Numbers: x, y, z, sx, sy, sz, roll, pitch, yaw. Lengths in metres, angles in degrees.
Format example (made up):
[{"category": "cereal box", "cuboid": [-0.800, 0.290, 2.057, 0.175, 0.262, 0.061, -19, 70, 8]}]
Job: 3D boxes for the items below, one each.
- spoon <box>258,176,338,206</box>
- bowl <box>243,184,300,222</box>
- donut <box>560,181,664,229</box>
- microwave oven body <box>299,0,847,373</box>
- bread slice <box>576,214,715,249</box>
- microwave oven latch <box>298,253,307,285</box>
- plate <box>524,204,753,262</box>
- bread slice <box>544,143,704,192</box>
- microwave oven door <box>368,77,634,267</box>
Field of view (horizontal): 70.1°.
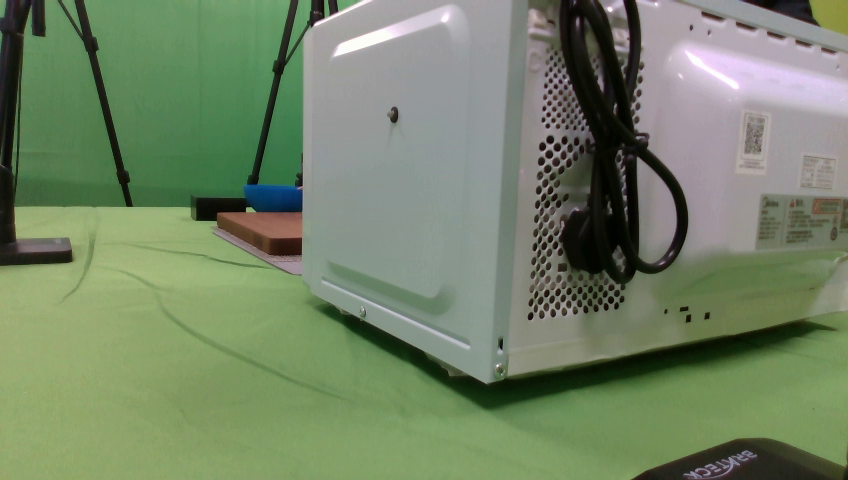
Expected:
[{"category": "spoon", "cuboid": [-0.279, -0.112, 1.356, 0.194, 0.021, 0.041, -27, 19, -27]}, {"category": "bowl", "cuboid": [-0.322, -0.081, 1.334, 0.151, 0.077, 0.151, 3, 7, 0]}, {"category": "donut", "cuboid": [0.186, -0.034, 0.600, 0.099, 0.048, 0.099, -3, 6, 1]}, {"category": "microwave oven body", "cuboid": [0.151, -0.055, 0.543, 0.444, 0.260, 0.324, -2, 7, -33]}, {"category": "bread slice", "cuboid": [0.214, -0.010, 0.579, 0.105, 0.019, 0.131, 3, 8, -2]}, {"category": "microwave oven latch", "cuboid": [-0.081, 0.027, 0.583, 0.079, 0.029, 0.030, -1, 7, -32]}, {"category": "plate", "cuboid": [0.200, -0.008, 0.587, 0.208, 0.039, 0.207, 4, 6, 0]}, {"category": "bread slice", "cuboid": [0.196, -0.070, 0.579, 0.107, 0.018, 0.133, 2, 16, -27]}, {"category": "microwave oven door", "cuboid": [0.094, -0.099, 0.832, 0.355, 0.243, 0.039, 4, 7, 18]}]
